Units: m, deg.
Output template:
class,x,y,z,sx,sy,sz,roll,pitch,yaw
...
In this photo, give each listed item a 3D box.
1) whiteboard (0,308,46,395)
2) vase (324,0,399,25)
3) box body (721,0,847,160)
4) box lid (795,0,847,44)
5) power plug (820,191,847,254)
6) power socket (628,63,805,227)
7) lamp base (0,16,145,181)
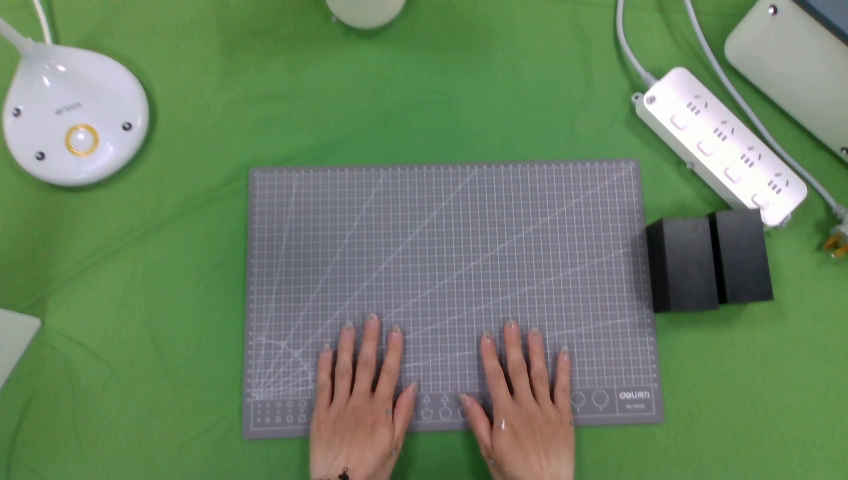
class,x,y,z,sx,sy,sz,roll,pitch,yaw
whiteboard,-0.557,0.104,0.527,0.143,0.308,0.216,25,80,23
vase,-0.071,-0.316,0.638,0.098,0.200,0.097,1,78,-2
box body,0.550,-0.213,0.654,0.363,0.161,0.254,42,81,6
box lid,0.552,-0.226,0.581,0.370,0.015,0.263,43,83,6
power plug,0.466,-0.016,0.693,0.052,0.035,0.072,-32,39,2
power socket,0.336,-0.110,0.696,0.072,0.033,0.226,-42,83,-8
lamp base,-0.403,-0.168,0.611,0.160,0.181,0.178,-33,79,-7
